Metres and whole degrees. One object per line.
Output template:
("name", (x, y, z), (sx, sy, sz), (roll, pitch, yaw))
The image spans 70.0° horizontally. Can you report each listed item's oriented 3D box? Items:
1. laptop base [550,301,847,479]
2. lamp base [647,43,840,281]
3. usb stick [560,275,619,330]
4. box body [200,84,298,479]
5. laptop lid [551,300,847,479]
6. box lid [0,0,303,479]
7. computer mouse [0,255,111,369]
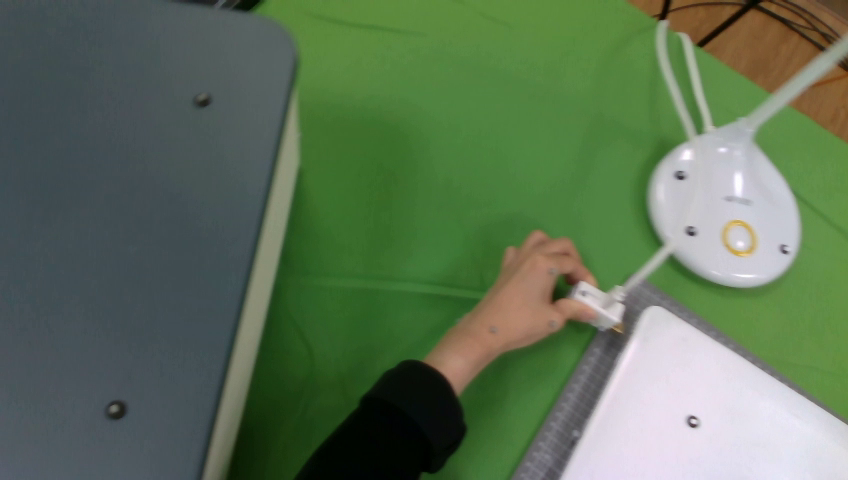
("laptop base", (0.286, 0.238, 0.510), (0.354, 0.023, 0.235), (33, 71, 4))
("lamp base", (0.311, -0.074, 0.546), (0.161, 0.181, 0.178), (-1, 66, -10))
("usb stick", (0.154, 0.058, 0.540), (0.059, 0.027, 0.021), (35, 54, -8))
("box body", (-0.244, 0.014, 0.430), (0.255, 0.161, 0.361), (10, 68, -6))
("laptop lid", (0.286, 0.235, 0.498), (0.356, 0.013, 0.241), (35, 70, 5))
("box lid", (-0.233, -0.014, 0.363), (0.264, 0.015, 0.369), (10, 69, -6))
("computer mouse", (-0.285, 0.047, 0.465), (0.063, 0.041, 0.116), (-17, 33, -5))
